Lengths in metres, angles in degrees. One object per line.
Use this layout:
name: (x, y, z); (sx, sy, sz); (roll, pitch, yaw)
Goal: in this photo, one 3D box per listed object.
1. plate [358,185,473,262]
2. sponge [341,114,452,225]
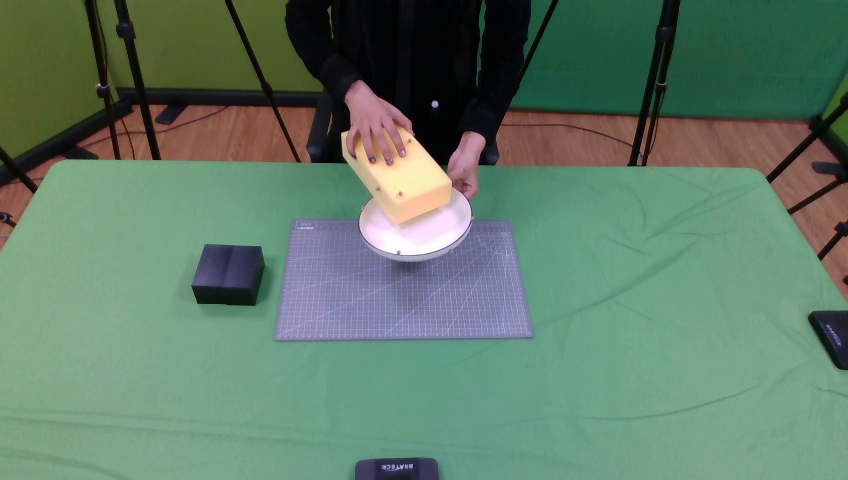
plate: (-0.015, -0.033, 1.099); (0.209, 0.038, 0.208); (-4, 44, 5)
sponge: (-0.055, -0.136, 1.130); (0.118, 0.061, 0.205); (-26, 58, -21)
